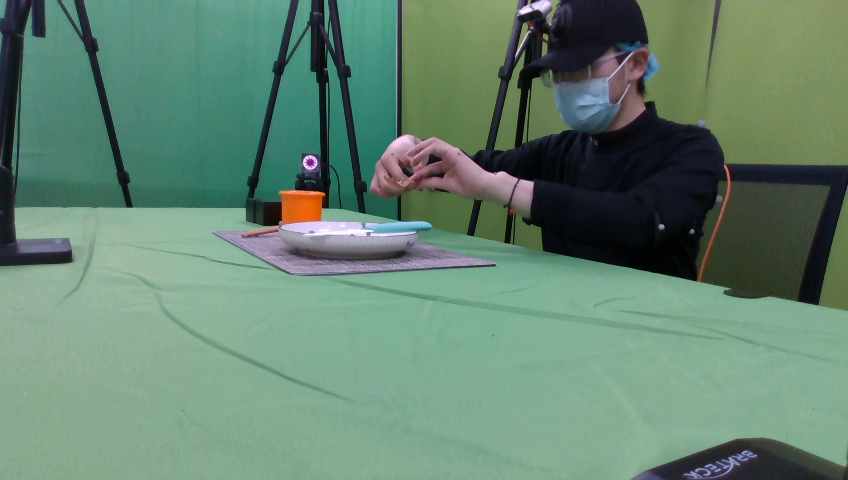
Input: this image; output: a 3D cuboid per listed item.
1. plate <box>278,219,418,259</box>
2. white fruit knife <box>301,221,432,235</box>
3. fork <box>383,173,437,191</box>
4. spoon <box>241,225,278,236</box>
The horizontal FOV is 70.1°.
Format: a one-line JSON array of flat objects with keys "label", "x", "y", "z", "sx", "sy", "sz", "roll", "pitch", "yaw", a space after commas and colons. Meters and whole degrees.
[{"label": "plate", "x": -0.114, "y": -0.002, "z": 0.914, "sx": 0.209, "sy": 0.038, "sz": 0.209, "roll": 2, "pitch": 8, "yaw": 0}, {"label": "white fruit knife", "x": -0.079, "y": -0.015, "z": 0.858, "sx": 0.208, "sy": 0.016, "sz": 0.027, "roll": -4, "pitch": 14, "yaw": -38}, {"label": "fork", "x": -0.019, "y": -0.098, "z": 1.054, "sx": 0.028, "sy": 0.018, "sz": 0.208, "roll": 19, "pitch": 9, "yaw": 22}, {"label": "spoon", "x": -0.232, "y": -0.021, "z": 1.082, "sx": 0.195, "sy": 0.021, "sz": 0.041, "roll": -3, "pitch": 27, "yaw": -37}]
